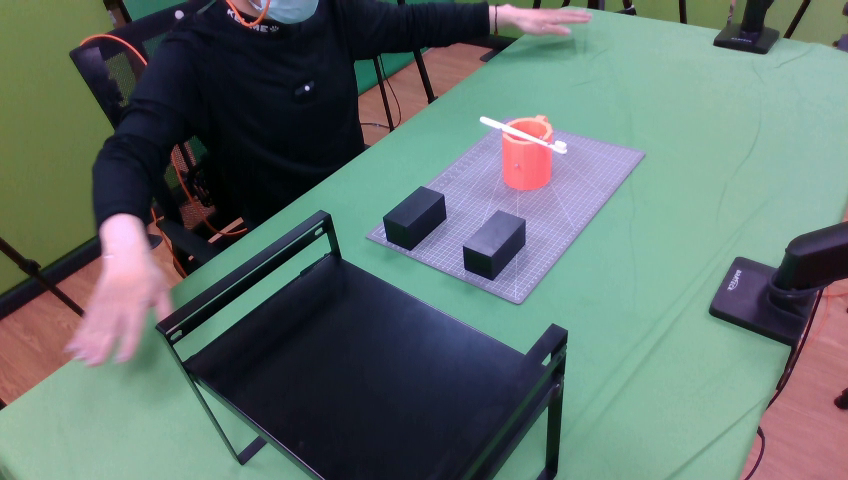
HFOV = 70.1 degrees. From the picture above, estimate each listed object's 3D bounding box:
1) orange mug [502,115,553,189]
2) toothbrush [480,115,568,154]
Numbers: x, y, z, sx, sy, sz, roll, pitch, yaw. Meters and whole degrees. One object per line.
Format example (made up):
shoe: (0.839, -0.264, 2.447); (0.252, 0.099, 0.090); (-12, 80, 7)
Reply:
orange mug: (0.190, -0.164, 1.071); (0.083, 0.101, 0.126); (16, 50, 25)
toothbrush: (0.165, -0.181, 1.014); (0.180, 0.017, 0.014); (30, 56, 35)
